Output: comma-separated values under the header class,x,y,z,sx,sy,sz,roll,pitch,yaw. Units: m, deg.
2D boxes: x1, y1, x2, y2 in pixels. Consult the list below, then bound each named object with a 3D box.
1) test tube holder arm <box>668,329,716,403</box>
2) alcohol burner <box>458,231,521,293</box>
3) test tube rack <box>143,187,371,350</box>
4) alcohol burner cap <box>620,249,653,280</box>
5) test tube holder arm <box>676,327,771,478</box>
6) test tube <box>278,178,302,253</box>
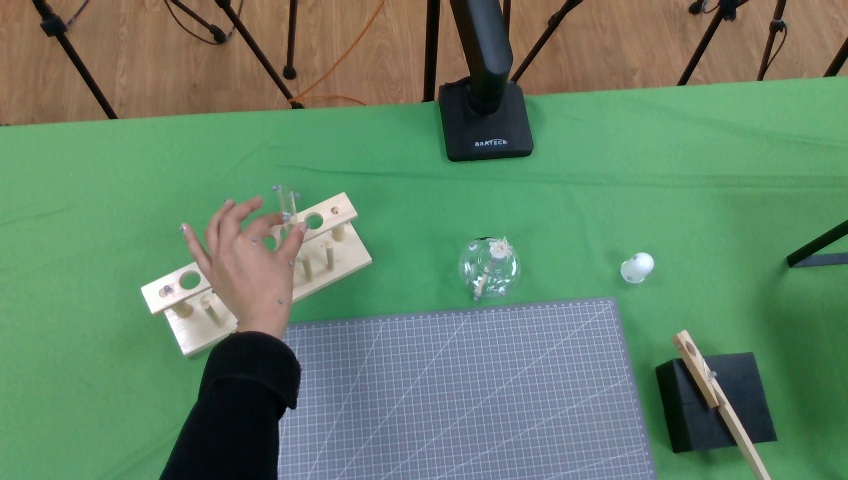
class,x,y,z,sx,sy,sz,roll,pitch,yaw
test tube holder arm,0.306,0.143,0.687,0.010,0.015,0.087,-22,73,-16
alcohol burner,0.081,0.020,0.718,0.078,0.119,0.077,2,69,-5
test tube rack,-0.185,0.033,0.707,0.242,0.085,0.066,-27,72,-14
alcohol burner cap,0.272,0.029,0.769,0.034,0.048,0.033,1,68,-3
test tube holder arm,0.331,0.179,0.676,0.013,0.015,0.177,-23,73,-16
test tube,-0.148,-0.023,0.675,0.017,0.151,0.017,3,62,-6
